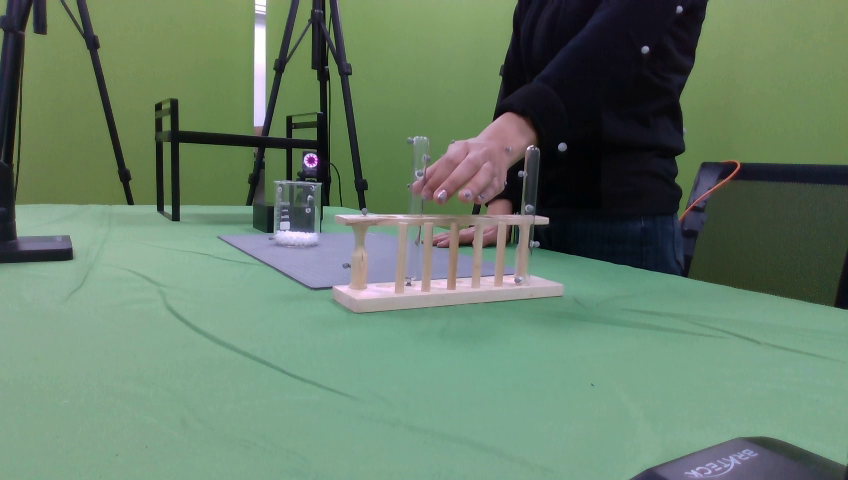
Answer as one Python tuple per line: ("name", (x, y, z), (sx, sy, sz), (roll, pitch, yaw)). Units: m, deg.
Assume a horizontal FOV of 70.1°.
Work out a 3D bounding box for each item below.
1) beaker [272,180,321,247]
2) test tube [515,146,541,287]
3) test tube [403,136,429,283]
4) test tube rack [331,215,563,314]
("beaker", (-0.197, -0.042, 0.944), (0.073, 0.100, 0.084), (7, 8, 29))
("test tube", (0.110, -0.024, 0.638), (0.017, 0.150, 0.017), (4, 6, 0))
("test tube", (-0.009, -0.030, 0.617), (0.017, 0.150, 0.017), (5, 2, 0))
("test tube rack", (0.031, 0.019, 0.626), (0.243, 0.085, 0.066), (-1, 8, -28))
